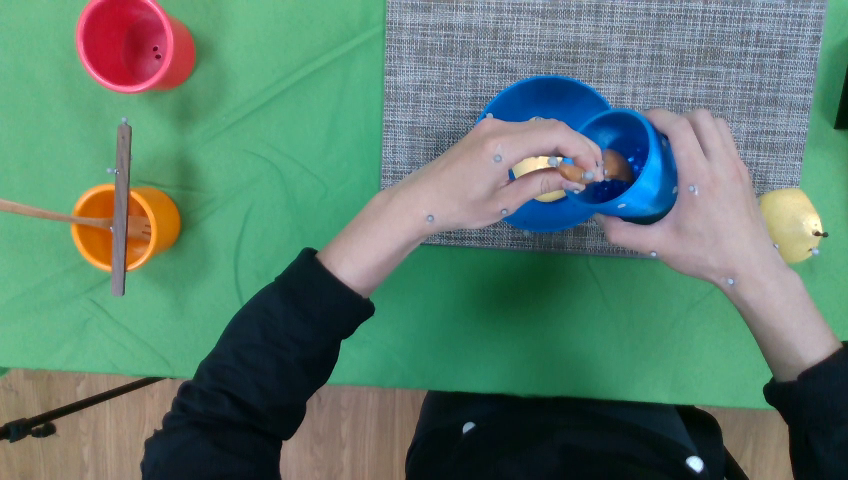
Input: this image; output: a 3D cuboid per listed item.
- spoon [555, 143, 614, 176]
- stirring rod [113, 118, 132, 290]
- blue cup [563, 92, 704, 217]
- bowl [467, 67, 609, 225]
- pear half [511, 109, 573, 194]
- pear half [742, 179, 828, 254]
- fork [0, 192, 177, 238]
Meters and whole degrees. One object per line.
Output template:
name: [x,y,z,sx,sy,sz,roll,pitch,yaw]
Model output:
spoon: [0.130,-0.057,0.455,0.021,0.194,0.041,-42,77,29]
stirring rod: [-0.304,-0.034,0.611,0.014,0.006,0.176,7,102,-2]
blue cup: [0.184,-0.060,0.514,0.101,0.091,0.093,15,103,-35]
bowl: [0.118,-0.094,0.616,0.151,0.076,0.152,0,101,3]
pear half: [0.124,-0.091,0.609,0.070,0.031,0.088,-17,94,0]
pear half: [0.358,-0.019,0.605,0.056,0.109,0.076,-16,95,6]
fork: [-0.357,-0.029,0.615,0.209,0.018,0.028,12,114,-44]
